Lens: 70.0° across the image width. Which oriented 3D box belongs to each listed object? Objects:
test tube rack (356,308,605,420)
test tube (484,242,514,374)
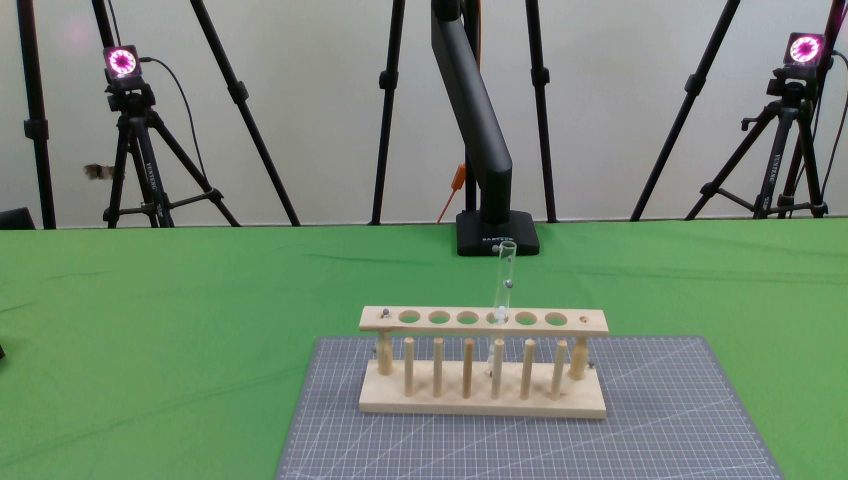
[{"bbox_3d":[0.055,0.123,0.608,0.242,0.086,0.066,1,30,4],"label":"test tube rack"},{"bbox_3d":[0.073,0.071,0.598,0.017,0.151,0.017,3,27,-1],"label":"test tube"}]
